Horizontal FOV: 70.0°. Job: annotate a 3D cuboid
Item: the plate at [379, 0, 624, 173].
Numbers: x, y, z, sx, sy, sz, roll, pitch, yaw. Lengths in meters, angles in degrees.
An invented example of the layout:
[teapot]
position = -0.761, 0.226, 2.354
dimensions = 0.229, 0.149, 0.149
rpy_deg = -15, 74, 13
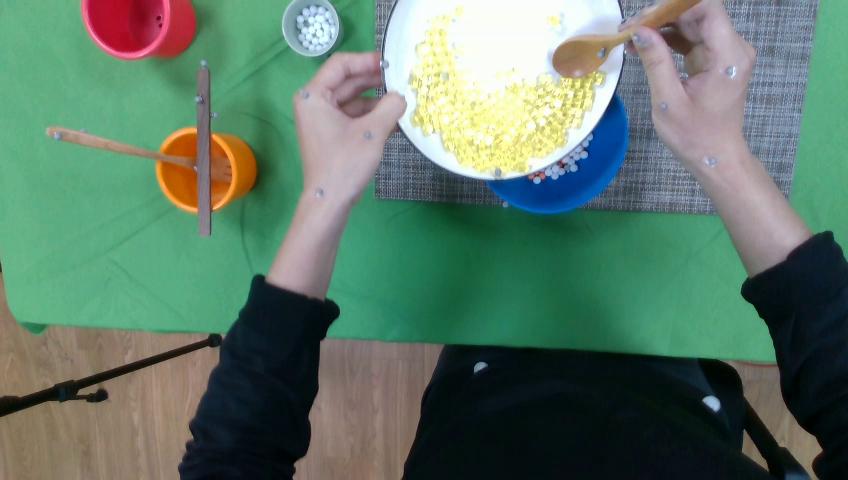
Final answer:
[plate]
position = 0.063, -0.160, 0.514
dimensions = 0.209, 0.038, 0.210
rpy_deg = -5, 120, -9

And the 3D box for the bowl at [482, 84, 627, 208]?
[bowl]
position = 0.124, -0.113, 0.622
dimensions = 0.151, 0.076, 0.152
rpy_deg = 1, 104, 6

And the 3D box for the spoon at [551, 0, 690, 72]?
[spoon]
position = 0.152, -0.160, 0.449
dimensions = 0.042, 0.193, 0.021
rpy_deg = 23, 84, -16

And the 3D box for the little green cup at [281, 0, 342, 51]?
[little green cup]
position = -0.118, -0.232, 0.649
dimensions = 0.061, 0.038, 0.062
rpy_deg = 2, 103, 7

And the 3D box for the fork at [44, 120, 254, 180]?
[fork]
position = -0.282, -0.095, 0.643
dimensions = 0.209, 0.018, 0.028
rpy_deg = 10, 110, -40

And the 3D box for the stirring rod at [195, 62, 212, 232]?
[stirring rod]
position = -0.230, -0.095, 0.633
dimensions = 0.014, 0.006, 0.176
rpy_deg = 5, 103, 5
